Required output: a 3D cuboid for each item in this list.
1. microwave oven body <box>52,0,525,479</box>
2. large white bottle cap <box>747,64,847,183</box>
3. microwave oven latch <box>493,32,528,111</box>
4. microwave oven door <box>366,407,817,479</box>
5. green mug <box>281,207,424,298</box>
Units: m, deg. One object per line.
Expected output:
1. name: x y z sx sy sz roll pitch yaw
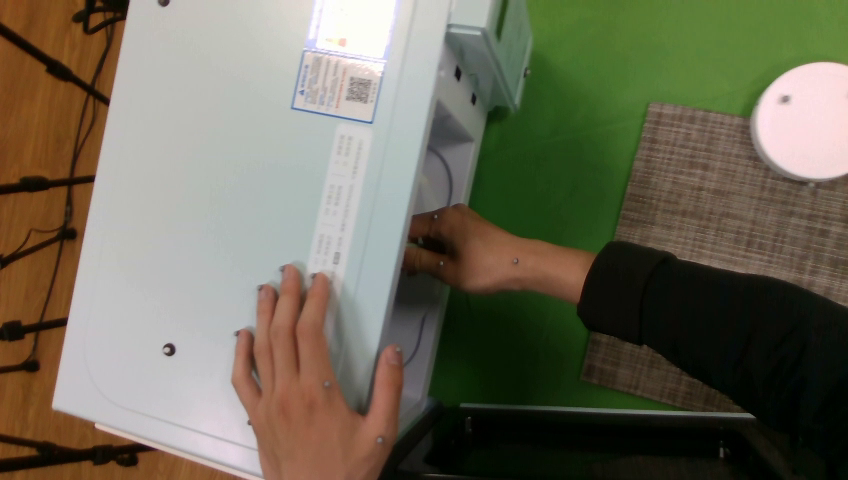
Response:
1. microwave oven body: -0.111 -0.039 0.585 0.325 0.261 0.441 12 92 13
2. large white bottle cap: 0.379 -0.113 0.590 0.114 0.018 0.114 -1 88 13
3. microwave oven latch: 0.090 -0.179 0.639 0.030 0.029 0.079 12 92 14
4. microwave oven door: 0.148 0.190 0.512 0.355 0.244 0.039 -3 87 14
5. green mug: -0.063 0.012 0.582 0.125 0.105 0.092 0 89 11
